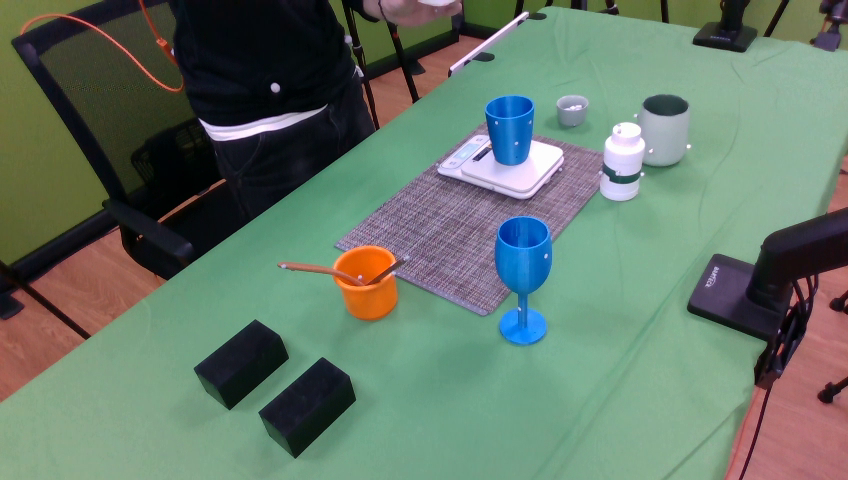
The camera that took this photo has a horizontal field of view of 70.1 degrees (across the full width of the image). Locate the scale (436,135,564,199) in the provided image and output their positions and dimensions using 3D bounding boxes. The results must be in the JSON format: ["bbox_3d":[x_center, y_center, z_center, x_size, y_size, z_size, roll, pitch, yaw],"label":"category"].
[{"bbox_3d":[0.137,-0.142,1.101,0.199,0.032,0.149,22,48,30],"label":"scale"}]

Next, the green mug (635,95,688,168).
[{"bbox_3d":[0.421,-0.201,1.081,0.092,0.105,0.125,5,42,15],"label":"green mug"}]

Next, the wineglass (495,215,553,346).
[{"bbox_3d":[0.127,0.054,0.770,0.074,0.173,0.073,-4,40,4],"label":"wineglass"}]

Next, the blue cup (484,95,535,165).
[{"bbox_3d":[0.150,-0.188,1.053,0.092,0.100,0.092,-6,39,5],"label":"blue cup"}]

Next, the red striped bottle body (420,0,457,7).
[{"bbox_3d":[0.018,-0.403,0.860,0.063,0.120,0.062,-3,47,4],"label":"red striped bottle body"}]

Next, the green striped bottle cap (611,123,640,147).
[{"bbox_3d":[0.322,-0.168,0.963,0.044,0.020,0.044,-3,42,3],"label":"green striped bottle cap"}]

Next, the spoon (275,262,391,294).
[{"bbox_3d":[-0.120,0.050,0.830,0.041,0.195,0.021,31,97,45],"label":"spoon"}]

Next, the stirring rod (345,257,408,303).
[{"bbox_3d":[-0.067,0.057,0.815,0.014,0.175,0.006,-24,82,-38],"label":"stirring rod"}]

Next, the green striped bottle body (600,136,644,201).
[{"bbox_3d":[0.326,-0.128,0.997,0.063,0.120,0.063,-4,41,4],"label":"green striped bottle body"}]

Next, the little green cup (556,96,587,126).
[{"bbox_3d":[0.295,-0.258,1.214,0.061,0.039,0.061,-4,42,4],"label":"little green cup"}]
